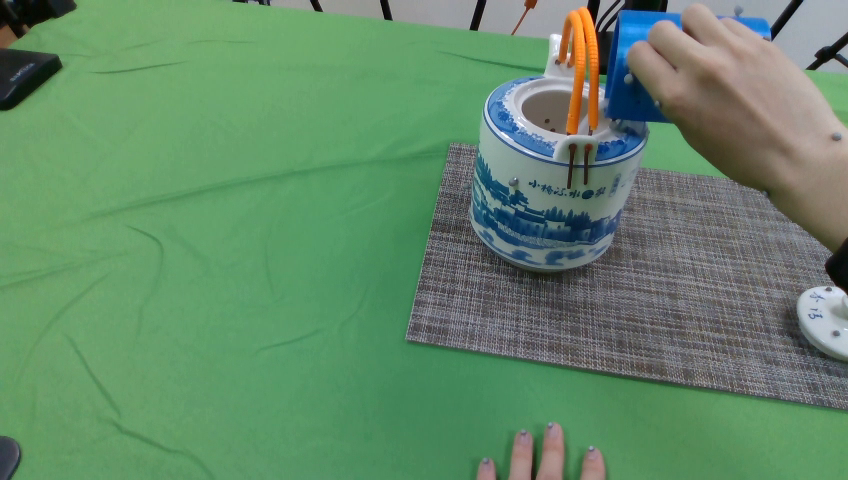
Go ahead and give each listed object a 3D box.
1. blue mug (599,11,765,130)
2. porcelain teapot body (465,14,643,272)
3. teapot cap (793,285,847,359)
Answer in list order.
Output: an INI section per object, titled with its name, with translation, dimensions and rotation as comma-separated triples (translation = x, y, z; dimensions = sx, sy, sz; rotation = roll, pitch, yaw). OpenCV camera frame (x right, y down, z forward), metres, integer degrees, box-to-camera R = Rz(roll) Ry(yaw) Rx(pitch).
[blue mug]
translation = 0.191, -0.128, 0.456
dimensions = 0.105, 0.082, 0.116
rotation = 7, 15, 10
[porcelain teapot body]
translation = 0.118, -0.108, 0.565
dimensions = 0.145, 0.227, 0.203
rotation = 3, 44, -1
[teapot cap]
translation = 0.373, 0.068, 0.535
dimensions = 0.085, 0.044, 0.084
rotation = 4, 43, -3
